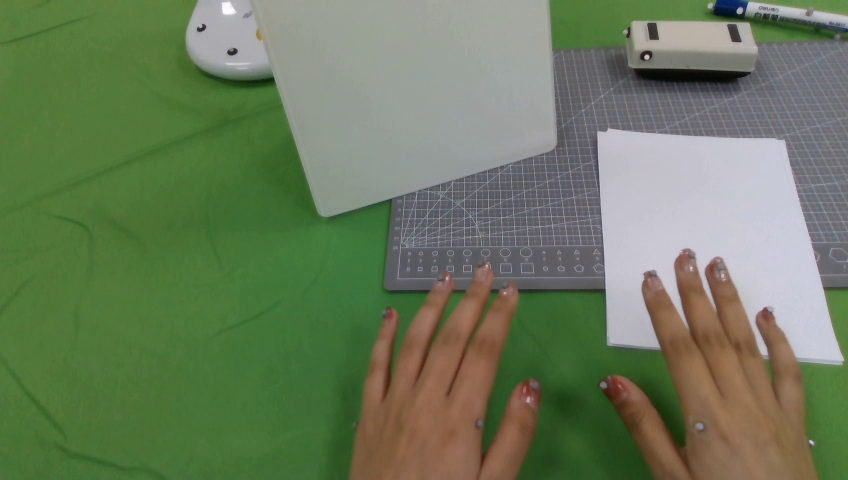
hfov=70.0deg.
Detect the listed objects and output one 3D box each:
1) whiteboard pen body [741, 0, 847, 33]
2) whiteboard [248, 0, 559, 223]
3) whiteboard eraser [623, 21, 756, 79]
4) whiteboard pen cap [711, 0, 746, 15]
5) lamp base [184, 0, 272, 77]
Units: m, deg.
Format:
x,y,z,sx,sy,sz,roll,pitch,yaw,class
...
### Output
x,y,z,sx,sy,sz,roll,pitch,yaw,class
0.376,-0.231,0.621,0.140,0.017,0.017,19,55,20,whiteboard pen body
-0.028,-0.204,0.488,0.217,0.308,0.142,-17,33,-8,whiteboard
0.249,-0.181,0.576,0.112,0.042,0.055,4,53,8,whiteboard eraser
0.324,-0.247,0.642,0.033,0.018,0.018,18,55,21,whiteboard pen cap
-0.193,-0.283,0.606,0.177,0.182,0.160,34,61,30,lamp base
